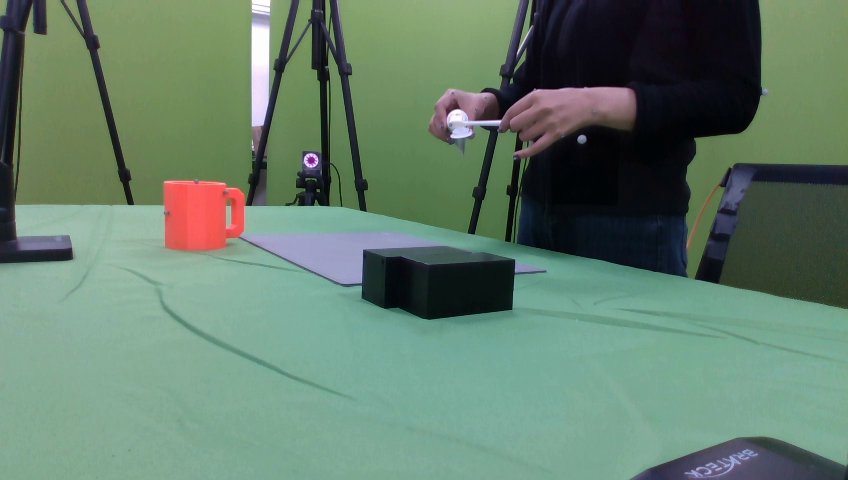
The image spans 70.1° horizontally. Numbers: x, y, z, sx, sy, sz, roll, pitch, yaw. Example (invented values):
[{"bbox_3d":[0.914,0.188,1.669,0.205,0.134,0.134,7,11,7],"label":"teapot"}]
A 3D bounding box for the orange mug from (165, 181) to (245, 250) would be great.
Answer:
[{"bbox_3d":[-0.326,-0.040,0.911,0.083,0.101,0.127,8,14,37],"label":"orange mug"}]

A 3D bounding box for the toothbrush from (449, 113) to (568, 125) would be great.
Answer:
[{"bbox_3d":[0.127,-0.184,0.926,0.181,0.016,0.014,3,-29,13],"label":"toothbrush"}]

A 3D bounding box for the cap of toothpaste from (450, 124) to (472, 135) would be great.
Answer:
[{"bbox_3d":[0.057,-0.173,0.947,0.037,0.011,0.037,-6,23,3],"label":"cap of toothpaste"}]

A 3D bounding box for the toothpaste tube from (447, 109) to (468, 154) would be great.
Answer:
[{"bbox_3d":[0.059,-0.188,1.035,0.034,0.055,0.165,-30,-5,0],"label":"toothpaste tube"}]
